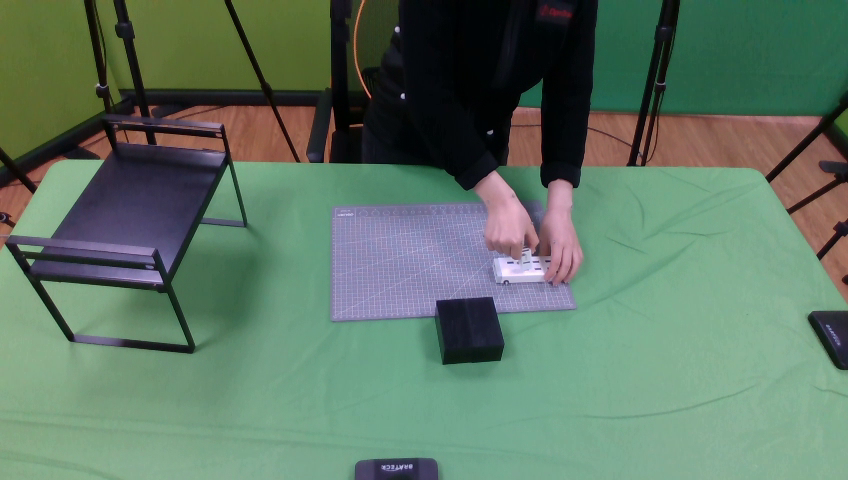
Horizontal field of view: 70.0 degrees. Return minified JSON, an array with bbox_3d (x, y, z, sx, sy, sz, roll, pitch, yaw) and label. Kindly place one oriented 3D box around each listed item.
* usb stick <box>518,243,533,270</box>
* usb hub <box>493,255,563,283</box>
[{"bbox_3d":[0.187,0.036,1.113,0.021,0.059,0.027,-11,43,0],"label":"usb stick"},{"bbox_3d":[0.196,0.055,1.150,0.125,0.025,0.049,-2,46,-5],"label":"usb hub"}]
